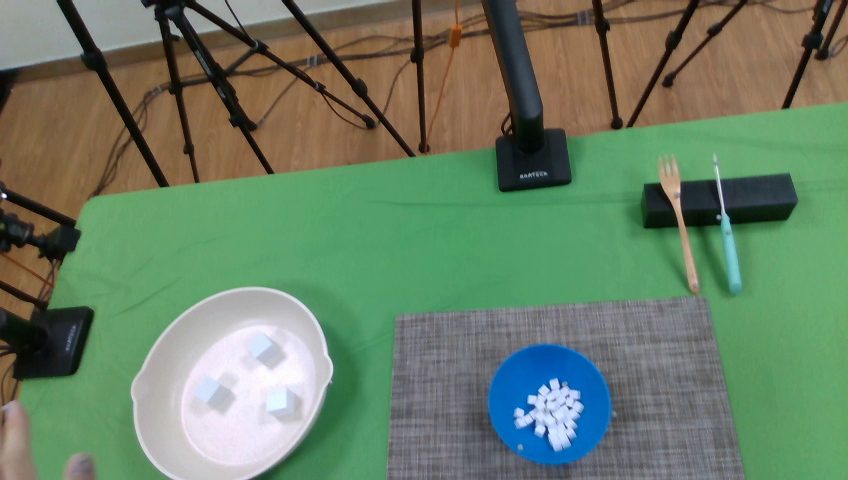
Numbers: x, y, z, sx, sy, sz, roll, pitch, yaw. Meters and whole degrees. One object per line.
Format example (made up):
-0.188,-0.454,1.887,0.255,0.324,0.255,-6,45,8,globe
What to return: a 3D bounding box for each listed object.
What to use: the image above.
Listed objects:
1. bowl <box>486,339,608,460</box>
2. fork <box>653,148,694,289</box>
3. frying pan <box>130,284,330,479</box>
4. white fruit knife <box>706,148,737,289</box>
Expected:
0.159,0.212,0.782,0.151,0.077,0.150,-5,60,10,bowl
0.362,-0.032,0.875,0.028,0.019,0.206,-9,80,3,fork
-0.277,0.290,0.825,0.306,0.104,0.483,-6,51,10,frying pan
0.420,-0.034,0.862,0.016,0.027,0.206,-7,76,15,white fruit knife
